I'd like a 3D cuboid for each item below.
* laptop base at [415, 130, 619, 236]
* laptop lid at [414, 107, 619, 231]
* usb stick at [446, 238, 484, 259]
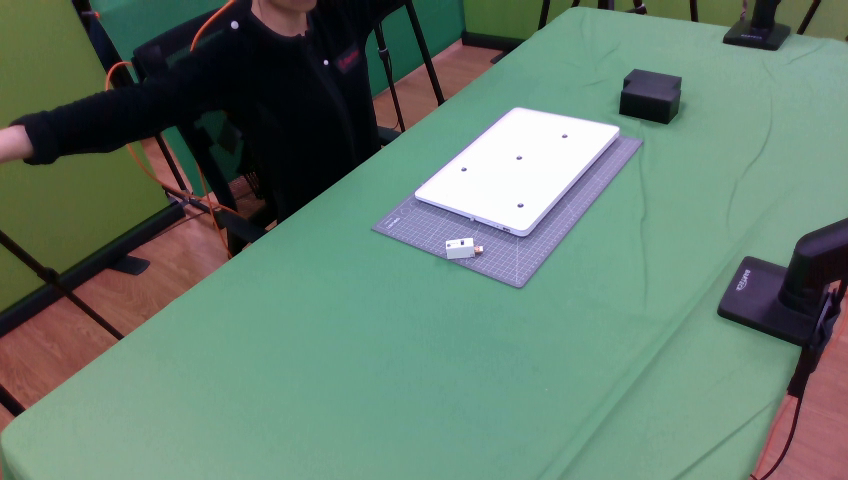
[{"bbox_3d":[0.178,-0.137,1.112,0.233,0.023,0.355,19,48,34],"label":"laptop base"},{"bbox_3d":[0.174,-0.147,1.106,0.239,0.013,0.358,22,49,34],"label":"laptop lid"},{"bbox_3d":[0.064,0.013,0.946,0.059,0.027,0.021,-4,41,3],"label":"usb stick"}]
